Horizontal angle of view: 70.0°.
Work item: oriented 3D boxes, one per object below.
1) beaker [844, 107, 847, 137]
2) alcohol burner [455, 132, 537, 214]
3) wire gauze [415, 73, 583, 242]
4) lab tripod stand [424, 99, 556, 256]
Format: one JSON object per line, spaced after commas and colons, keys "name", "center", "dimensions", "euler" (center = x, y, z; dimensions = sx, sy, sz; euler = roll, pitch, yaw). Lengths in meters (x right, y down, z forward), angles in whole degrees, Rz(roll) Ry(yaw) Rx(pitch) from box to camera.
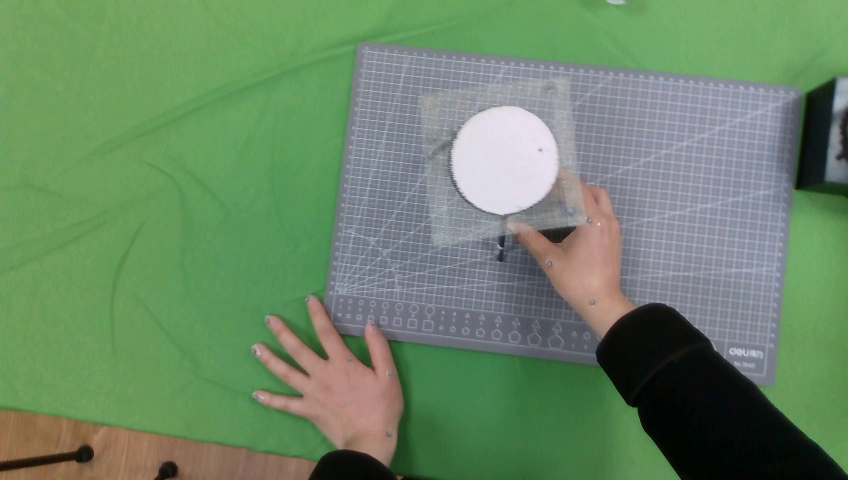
{"name": "beaker", "center": [0.415, -0.112, 0.506], "dimensions": [0.074, 0.100, 0.084], "euler": [17, 87, 4]}
{"name": "alcohol burner", "center": [0.067, -0.065, 0.556], "dimensions": [0.078, 0.119, 0.077], "euler": [0, 84, 3]}
{"name": "wire gauze", "center": [0.058, -0.066, 0.479], "dimensions": [0.121, 0.011, 0.125], "euler": [-7, 89, 1]}
{"name": "lab tripod stand", "center": [0.065, -0.061, 0.546], "dimensions": [0.148, 0.131, 0.148], "euler": [0, 88, 1]}
